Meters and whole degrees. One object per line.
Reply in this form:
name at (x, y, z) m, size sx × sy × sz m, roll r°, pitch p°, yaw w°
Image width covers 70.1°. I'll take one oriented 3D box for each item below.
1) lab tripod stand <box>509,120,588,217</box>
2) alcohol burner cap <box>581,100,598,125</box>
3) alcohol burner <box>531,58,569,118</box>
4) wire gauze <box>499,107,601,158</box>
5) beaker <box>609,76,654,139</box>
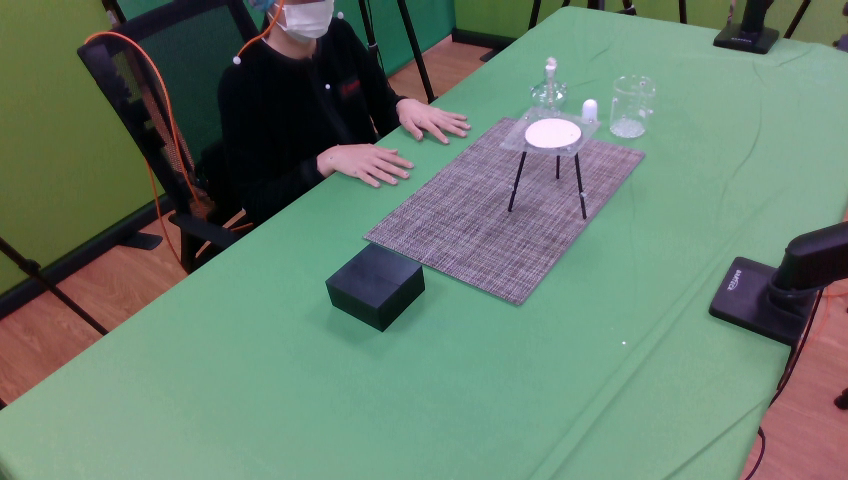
lab tripod stand at (0.208, -0.114, 0.983) m, size 0.148 × 0.132 × 0.147 m, roll -5°, pitch 42°, yaw 5°
alcohol burner cap at (0.331, -0.258, 1.210) m, size 0.034 × 0.048 × 0.033 m, roll -5°, pitch 41°, yaw 5°
alcohol burner at (0.255, -0.311, 1.227) m, size 0.078 × 0.119 × 0.077 m, roll -6°, pitch 41°, yaw 6°
wire gauze at (0.198, -0.168, 0.943) m, size 0.120 × 0.011 × 0.125 m, roll 17°, pitch 47°, yaw 27°
beaker at (0.393, -0.248, 1.144) m, size 0.074 × 0.101 × 0.083 m, roll -32°, pitch 47°, yaw -24°
